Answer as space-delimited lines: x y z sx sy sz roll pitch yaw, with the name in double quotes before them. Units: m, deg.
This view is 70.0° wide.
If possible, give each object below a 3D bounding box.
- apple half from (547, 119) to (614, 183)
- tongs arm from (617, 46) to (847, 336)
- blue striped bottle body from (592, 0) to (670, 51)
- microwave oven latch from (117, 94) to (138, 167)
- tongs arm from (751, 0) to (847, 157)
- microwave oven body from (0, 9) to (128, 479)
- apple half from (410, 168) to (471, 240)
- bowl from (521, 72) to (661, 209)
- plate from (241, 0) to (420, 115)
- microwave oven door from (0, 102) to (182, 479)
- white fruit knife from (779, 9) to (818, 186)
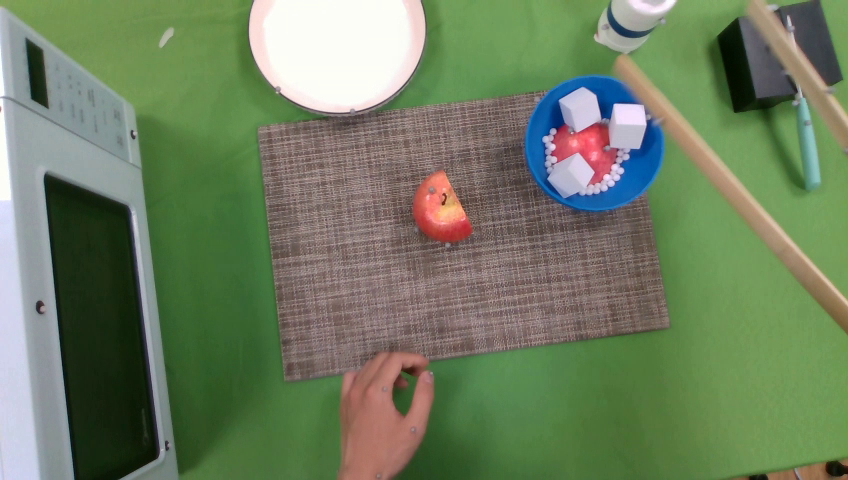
"apple half" 0.180 -0.103 0.683 0.081 0.033 0.081 0 82 -1
"tongs arm" 0.283 -0.018 0.493 0.028 0.028 0.385 -30 72 -13
"blue striped bottle body" 0.238 -0.270 0.689 0.063 0.121 0.063 0 83 -1
"microwave oven latch" -0.345 -0.122 0.684 0.030 0.029 0.079 -9 85 -3
"tongs arm" 0.353 -0.050 0.500 0.051 0.027 0.382 -20 72 -6
"microwave oven body" -0.461 0.064 0.565 0.326 0.260 0.440 -10 85 -3
"apple half" 0.013 -0.034 0.680 0.053 0.074 0.080 -28 88 2
"bowl" 0.179 -0.103 0.688 0.151 0.077 0.151 0 84 -1
"plate" -0.109 -0.246 0.721 0.208 0.039 0.207 0 84 -2
"microwave oven door" -0.309 0.081 0.562 0.039 0.244 0.355 -10 84 -2
"white fruit knife" 0.429 -0.161 0.699 0.016 0.027 0.208 -15 101 15
